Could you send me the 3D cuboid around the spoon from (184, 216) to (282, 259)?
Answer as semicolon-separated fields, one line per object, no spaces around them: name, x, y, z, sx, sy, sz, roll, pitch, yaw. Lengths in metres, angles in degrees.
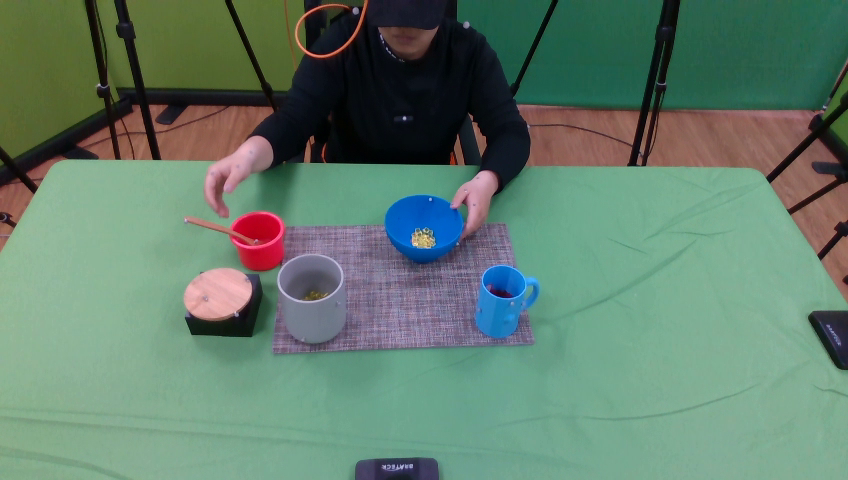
spoon;-0.341;-0.008;1.096;0.195;0.021;0.041;29;35;-41

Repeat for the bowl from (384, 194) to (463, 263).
bowl;-0.003;-0.010;1.164;0.151;0.077;0.150;2;46;-2

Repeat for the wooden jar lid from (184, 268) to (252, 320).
wooden jar lid;-0.343;0.092;1.015;0.108;0.021;0.107;3;46;-3

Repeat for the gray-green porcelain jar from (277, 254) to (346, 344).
gray-green porcelain jar;-0.184;0.102;1.008;0.106;0.127;0.105;2;46;-2

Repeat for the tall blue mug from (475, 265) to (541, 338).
tall blue mug;0.142;0.098;1.047;0.077;0.108;0.107;33;53;27
